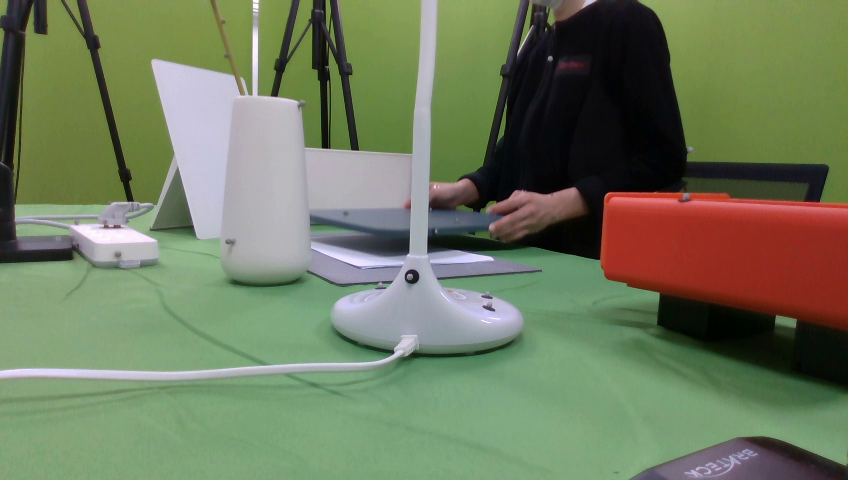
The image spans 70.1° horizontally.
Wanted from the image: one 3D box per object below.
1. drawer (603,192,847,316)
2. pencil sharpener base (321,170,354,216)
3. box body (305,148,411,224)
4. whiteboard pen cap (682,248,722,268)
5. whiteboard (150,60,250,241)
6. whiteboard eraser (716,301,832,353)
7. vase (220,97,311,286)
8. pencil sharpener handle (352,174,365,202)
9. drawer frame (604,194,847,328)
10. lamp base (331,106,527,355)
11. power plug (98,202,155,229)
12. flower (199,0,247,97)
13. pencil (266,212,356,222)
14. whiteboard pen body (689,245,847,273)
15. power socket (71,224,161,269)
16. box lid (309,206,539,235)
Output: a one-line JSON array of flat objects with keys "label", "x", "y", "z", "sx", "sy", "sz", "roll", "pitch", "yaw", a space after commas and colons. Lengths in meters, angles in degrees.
[{"label": "drawer", "x": 0.293, "y": 0.002, "z": 0.500, "sx": 0.195, "sy": 0.073, "sz": 0.210, "roll": -1, "pitch": 8, "yaw": -34}, {"label": "pencil sharpener base", "x": -0.206, "y": -0.112, "z": 1.437, "sx": 0.077, "sy": 0.107, "sz": 0.061, "roll": 1, "pitch": 6, "yaw": -11}, {"label": "box body", "x": -0.230, "y": -0.126, "z": 1.372, "sx": 0.366, "sy": 0.160, "sz": 0.253, "roll": -2, "pitch": 9, "yaw": -33}, {"label": "whiteboard pen cap", "x": 0.250, "y": 0.017, "z": 0.544, "sx": 0.033, "sy": 0.018, "sz": 0.018, "roll": 2, "pitch": 7, "yaw": 25}, {"label": "whiteboard", "x": -0.408, "y": -0.139, "z": 1.093, "sx": 0.143, "sy": 0.305, "sz": 0.218, "roll": -15, "pitch": -1, "yaw": 26}, {"label": "whiteboard eraser", "x": 0.256, "y": 0.042, "z": 0.472, "sx": 0.112, "sy": 0.042, "sz": 0.056, "roll": 43, "pitch": 19, "yaw": 31}, {"label": "vase", "x": -0.172, "y": -0.052, "z": 0.662, "sx": 0.098, "sy": 0.200, "sz": 0.098, "roll": 3, "pitch": 8, "yaw": 0}, {"label": "pencil sharpener handle", "x": -0.156, "y": -0.124, "z": 1.449, "sx": 0.031, "sy": 0.068, "sz": 0.036, "roll": 1, "pitch": 18, "yaw": -10}, {"label": "drawer frame", "x": 0.298, "y": 0.007, "z": 0.497, "sx": 0.203, "sy": 0.082, "sz": 0.212, "roll": -1, "pitch": 7, "yaw": -34}, {"label": "lamp base", "x": 0.006, "y": -0.012, "z": 0.478, "sx": 0.161, "sy": 0.180, "sz": 0.179, "roll": 2, "pitch": 10, "yaw": 2}, {"label": "power plug", "x": -0.416, "y": -0.027, "z": 0.848, "sx": 0.073, "sy": 0.052, "sz": 0.035, "roll": 0, "pitch": 8, "yaw": -28}, {"label": "flower", "x": -0.187, "y": -0.133, "z": 0.648, "sx": 0.038, "sy": 0.362, "sz": 0.044, "roll": -1, "pitch": 21, "yaw": 42}, {"label": "pencil", "x": -0.244, "y": -0.049, "z": 1.319, "sx": 0.195, "sy": 0.012, "sz": 0.012, "roll": 4, "pitch": 7, "yaw": -12}, {"label": "whiteboard pen body", "x": 0.303, "y": 0.016, "z": 0.519, "sx": 0.140, "sy": 0.017, "sz": 0.017, "roll": 5, "pitch": 8, "yaw": 25}, {"label": "power socket", "x": -0.408, "y": 0.004, "z": 0.793, "sx": 0.072, "sy": 0.032, "sz": 0.225, "roll": -2, "pitch": 8, "yaw": -38}, {"label": "box lid", "x": -0.007, "y": -0.037, "z": 1.041, "sx": 0.374, "sy": 0.015, "sz": 0.262, "roll": -4, "pitch": 11, "yaw": -44}]
